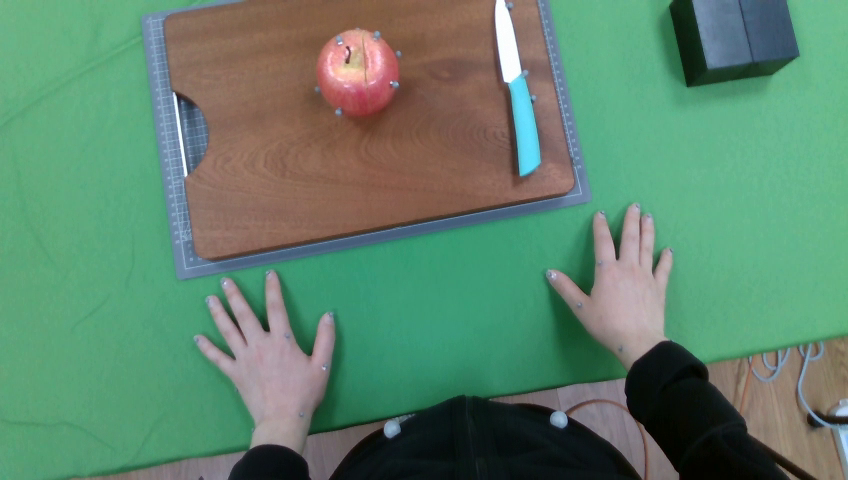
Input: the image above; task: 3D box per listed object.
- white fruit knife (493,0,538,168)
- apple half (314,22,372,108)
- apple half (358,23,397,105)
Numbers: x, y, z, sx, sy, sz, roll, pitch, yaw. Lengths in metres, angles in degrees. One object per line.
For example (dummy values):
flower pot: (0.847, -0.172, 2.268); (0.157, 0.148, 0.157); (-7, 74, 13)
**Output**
white fruit knife: (0.094, -0.177, 0.636); (0.027, 0.016, 0.206); (-7, 83, -15)
apple half: (-0.081, -0.171, 0.604); (0.053, 0.075, 0.080); (-6, 87, 3)
apple half: (-0.043, -0.175, 0.604); (0.033, 0.081, 0.081); (-6, 83, 1)
